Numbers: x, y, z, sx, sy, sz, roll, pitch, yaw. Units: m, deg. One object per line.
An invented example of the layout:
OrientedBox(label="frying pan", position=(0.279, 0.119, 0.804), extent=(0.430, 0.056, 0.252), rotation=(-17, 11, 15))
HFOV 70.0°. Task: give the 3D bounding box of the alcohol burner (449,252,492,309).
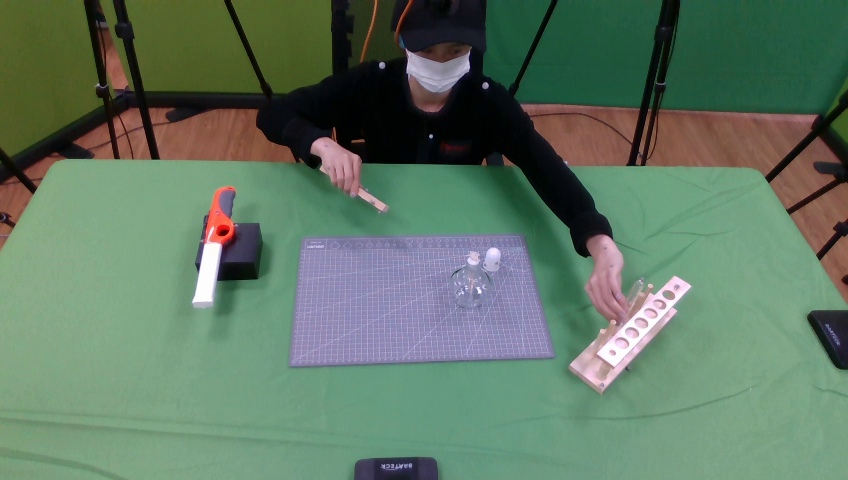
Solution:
OrientedBox(label="alcohol burner", position=(0.084, 0.066, 1.073), extent=(0.078, 0.120, 0.077), rotation=(1, 44, -1))

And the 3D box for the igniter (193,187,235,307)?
OrientedBox(label="igniter", position=(-0.379, 0.003, 1.096), extent=(0.057, 0.025, 0.274), rotation=(-1, 49, -6))

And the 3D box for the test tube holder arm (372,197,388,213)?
OrientedBox(label="test tube holder arm", position=(-0.106, -0.079, 1.175), extent=(0.087, 0.010, 0.015), rotation=(33, 92, 24))

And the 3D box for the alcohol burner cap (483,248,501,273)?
OrientedBox(label="alcohol burner cap", position=(0.130, 0.037, 1.156), extent=(0.034, 0.048, 0.033), rotation=(1, 46, -1))

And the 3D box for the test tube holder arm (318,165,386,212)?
OrientedBox(label="test tube holder arm", position=(-0.143, -0.103, 1.188), extent=(0.177, 0.013, 0.015), rotation=(33, 92, 24))

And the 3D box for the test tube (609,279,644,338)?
OrientedBox(label="test tube", position=(0.333, 0.116, 1.006), extent=(0.017, 0.151, 0.017), rotation=(3, 46, -3))

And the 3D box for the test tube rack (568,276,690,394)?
OrientedBox(label="test tube rack", position=(0.354, 0.149, 1.039), extent=(0.242, 0.085, 0.066), rotation=(-34, 56, -31))
